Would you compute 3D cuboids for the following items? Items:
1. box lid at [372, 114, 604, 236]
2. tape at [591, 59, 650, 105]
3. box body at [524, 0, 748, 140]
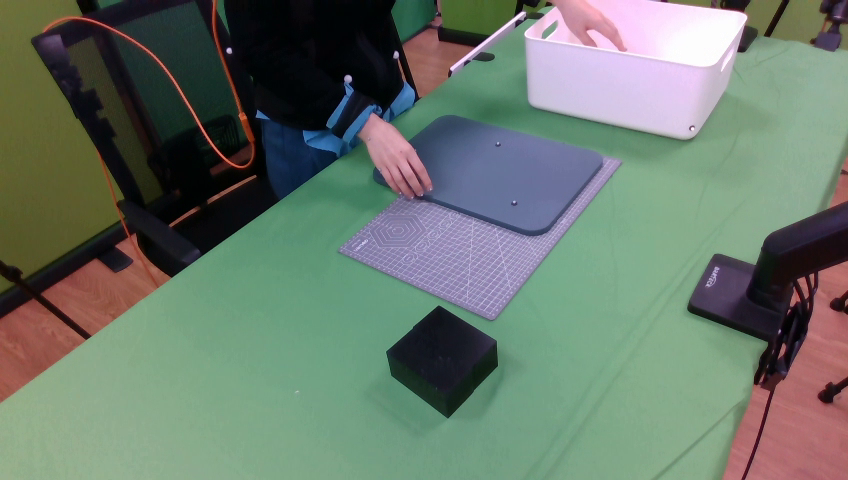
[{"bbox_3d":[0.115,-0.133,1.112,0.368,0.015,0.264,21,48,30],"label":"box lid"},{"bbox_3d":[0.407,-0.330,1.259,0.117,0.053,0.116,-2,40,2],"label":"tape"},{"bbox_3d":[0.412,-0.354,1.212,0.361,0.161,0.254,20,48,29],"label":"box body"}]
